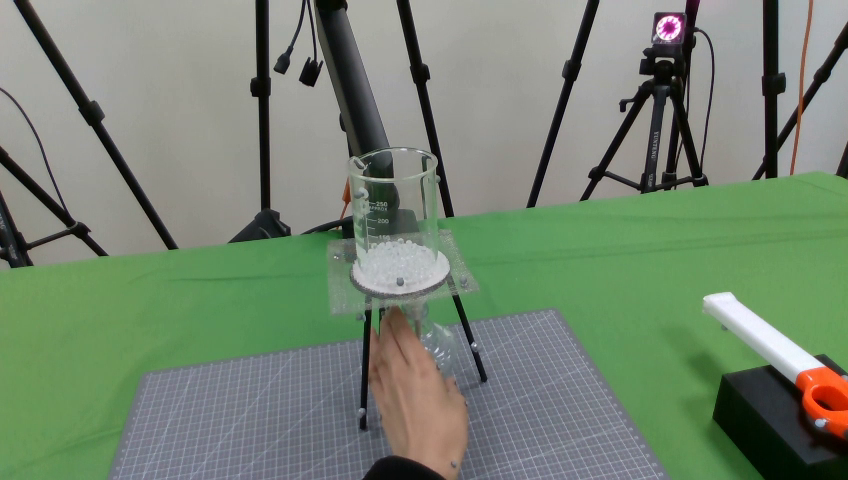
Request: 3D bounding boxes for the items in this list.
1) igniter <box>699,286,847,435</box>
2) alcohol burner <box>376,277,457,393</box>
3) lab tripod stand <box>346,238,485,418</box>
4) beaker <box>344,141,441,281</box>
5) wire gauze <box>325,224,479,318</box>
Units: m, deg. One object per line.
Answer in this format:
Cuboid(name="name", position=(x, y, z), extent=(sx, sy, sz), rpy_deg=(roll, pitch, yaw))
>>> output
Cuboid(name="igniter", position=(0.315, 0.112, 0.484), extent=(0.057, 0.025, 0.274), rpy_deg=(-9, 26, -9))
Cuboid(name="alcohol burner", position=(-0.008, 0.084, 0.566), extent=(0.078, 0.120, 0.077), rpy_deg=(-1, 31, 1))
Cuboid(name="lab tripod stand", position=(-0.016, 0.074, 0.564), extent=(0.148, 0.132, 0.147), rpy_deg=(-1, 28, 1))
Cuboid(name="beaker", position=(-0.026, -0.024, 0.506), extent=(0.074, 0.101, 0.083), rpy_deg=(-26, 37, -37))
Cuboid(name="wire gauze", position=(-0.024, 0.019, 0.529), extent=(0.121, 0.011, 0.124), rpy_deg=(-8, 32, -7))
